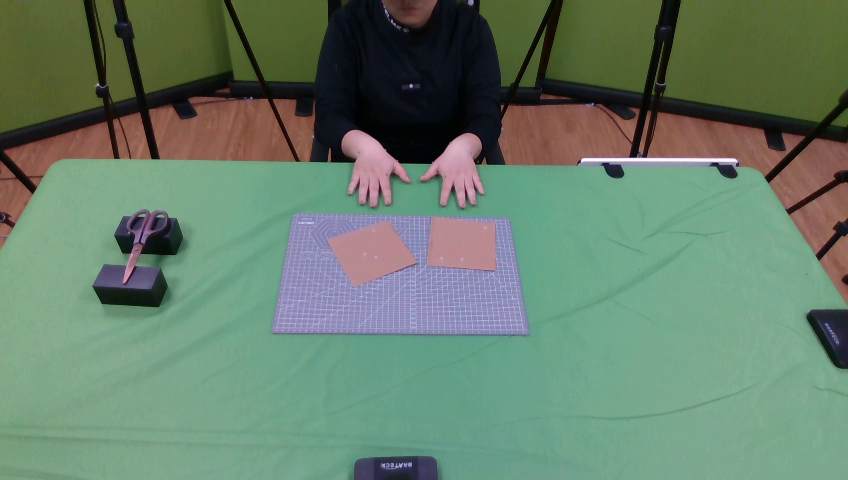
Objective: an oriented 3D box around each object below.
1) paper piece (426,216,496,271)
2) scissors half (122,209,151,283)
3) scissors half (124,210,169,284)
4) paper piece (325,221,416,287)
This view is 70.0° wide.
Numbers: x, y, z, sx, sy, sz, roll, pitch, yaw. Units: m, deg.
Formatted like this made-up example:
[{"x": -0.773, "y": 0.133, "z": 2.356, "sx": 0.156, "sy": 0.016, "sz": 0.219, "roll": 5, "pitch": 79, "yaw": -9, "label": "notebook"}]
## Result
[{"x": 0.075, "y": 0.006, "z": 1.204, "sx": 0.138, "sy": 0.009, "sz": 0.135, "roll": 6, "pitch": 49, "yaw": 1, "label": "paper piece"}, {"x": -0.521, "y": 0.009, "z": 1.085, "sx": 0.040, "sy": 0.013, "sz": 0.174, "roll": 1, "pitch": 48, "yaw": -14, "label": "scissors half"}, {"x": -0.501, "y": 0.010, "z": 1.088, "sx": 0.040, "sy": 0.013, "sz": 0.174, "roll": 9, "pitch": 48, "yaw": 0, "label": "scissors half"}, {"x": -0.105, "y": 0.022, "z": 1.174, "sx": 0.135, "sy": 0.004, "sz": 0.135, "roll": -19, "pitch": 50, "yaw": -21, "label": "paper piece"}]
